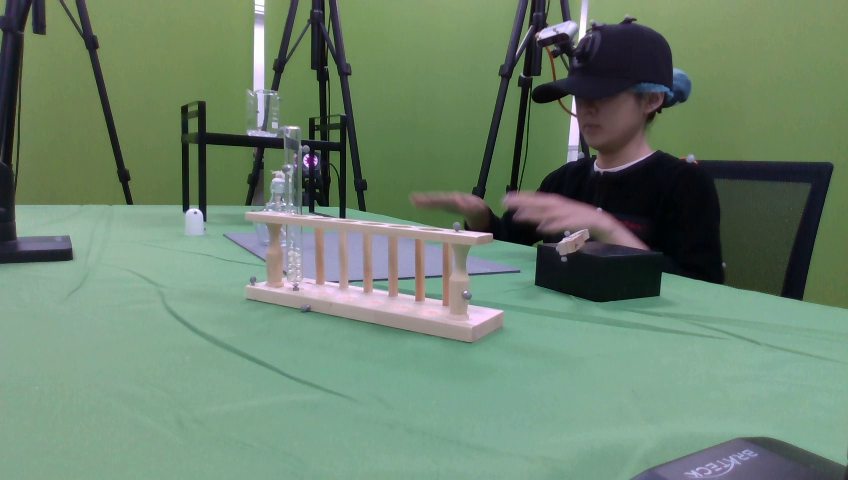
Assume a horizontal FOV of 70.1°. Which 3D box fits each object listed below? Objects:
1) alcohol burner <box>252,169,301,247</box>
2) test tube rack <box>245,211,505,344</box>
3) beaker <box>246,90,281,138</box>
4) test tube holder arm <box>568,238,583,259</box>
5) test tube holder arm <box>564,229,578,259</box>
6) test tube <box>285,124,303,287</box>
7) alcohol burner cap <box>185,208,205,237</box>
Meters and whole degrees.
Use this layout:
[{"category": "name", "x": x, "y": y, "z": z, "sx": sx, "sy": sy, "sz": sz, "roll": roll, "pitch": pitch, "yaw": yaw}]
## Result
[{"category": "alcohol burner", "x": -0.228, "y": -0.050, "z": 0.936, "sx": 0.078, "sy": 0.119, "sz": 0.078, "roll": 1, "pitch": 7, "yaw": 0}, {"category": "test tube rack", "x": -0.049, "y": 0.025, "z": 0.547, "sx": 0.241, "sy": 0.085, "sz": 0.067, "roll": 7, "pitch": 8, "yaw": 29}, {"category": "beaker", "x": -0.354, "y": -0.275, "z": 1.322, "sx": 0.074, "sy": 0.100, "sz": 0.084, "roll": 4, "pitch": 8, "yaw": 12}, {"category": "test tube holder arm", "x": 0.165, "y": 0.008, "z": 0.661, "sx": 0.010, "sy": 0.015, "sz": 0.088, "roll": 8, "pitch": 9, "yaw": 18}, {"category": "test tube holder arm", "x": 0.172, "y": 0.002, "z": 0.706, "sx": 0.013, "sy": 0.015, "sz": 0.179, "roll": 7, "pitch": 9, "yaw": 13}, {"category": "test tube", "x": -0.120, "y": -0.030, "z": 0.558, "sx": 0.017, "sy": 0.150, "sz": 0.017, "roll": 2, "pitch": 10, "yaw": 0}, {"category": "alcohol burner cap", "x": -0.391, "y": -0.031, "z": 1.032, "sx": 0.034, "sy": 0.048, "sz": 0.034, "roll": 3, "pitch": 8, "yaw": 0}]
